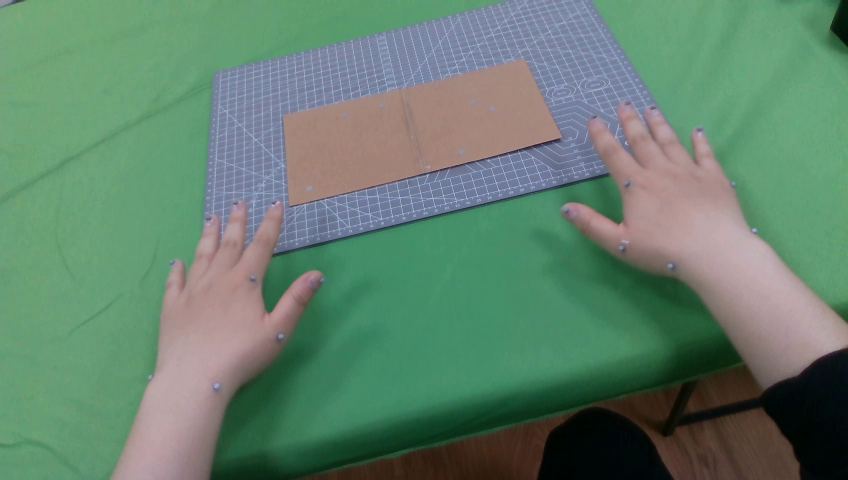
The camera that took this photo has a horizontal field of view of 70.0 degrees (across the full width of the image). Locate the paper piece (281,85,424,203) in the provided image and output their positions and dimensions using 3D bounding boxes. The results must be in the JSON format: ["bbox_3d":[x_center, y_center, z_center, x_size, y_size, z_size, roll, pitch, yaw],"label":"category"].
[{"bbox_3d":[-0.077,-0.103,0.615,0.138,0.009,0.134,-13,49,1],"label":"paper piece"}]

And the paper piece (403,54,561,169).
[{"bbox_3d":[0.053,-0.135,0.613,0.135,0.004,0.134,-14,51,2],"label":"paper piece"}]
